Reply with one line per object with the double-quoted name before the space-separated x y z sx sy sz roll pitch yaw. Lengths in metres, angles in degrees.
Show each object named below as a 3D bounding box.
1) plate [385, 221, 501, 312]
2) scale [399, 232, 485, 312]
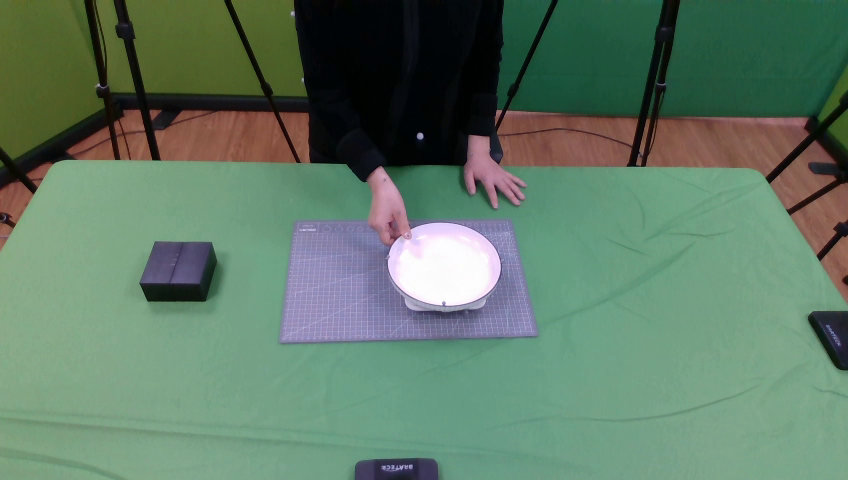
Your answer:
"plate" 0.034 0.050 1.096 0.209 0.038 0.208 2 46 -2
"scale" 0.031 0.050 1.141 0.149 0.032 0.199 -1 46 -6
